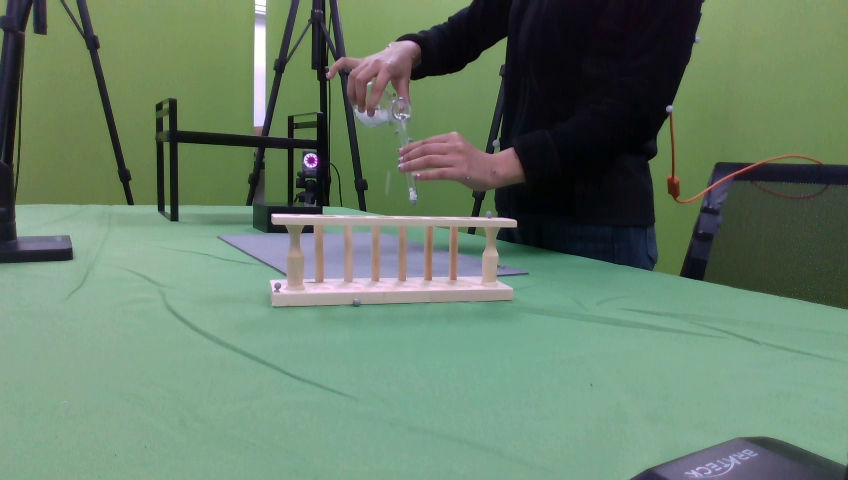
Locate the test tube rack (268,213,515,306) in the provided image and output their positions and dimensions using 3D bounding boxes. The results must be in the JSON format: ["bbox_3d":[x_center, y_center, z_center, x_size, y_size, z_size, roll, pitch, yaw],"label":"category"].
[{"bbox_3d":[-0.033,0.015,0.617,0.243,0.085,0.066,0,7,-17],"label":"test tube rack"}]

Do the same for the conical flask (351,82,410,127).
[{"bbox_3d":[-0.066,-0.222,1.003,0.076,0.075,0.121,-2,15,-29],"label":"conical flask"}]

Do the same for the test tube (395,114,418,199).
[{"bbox_3d":[-0.027,-0.128,0.921,0.017,0.150,0.017,-8,-25,-3],"label":"test tube"}]
